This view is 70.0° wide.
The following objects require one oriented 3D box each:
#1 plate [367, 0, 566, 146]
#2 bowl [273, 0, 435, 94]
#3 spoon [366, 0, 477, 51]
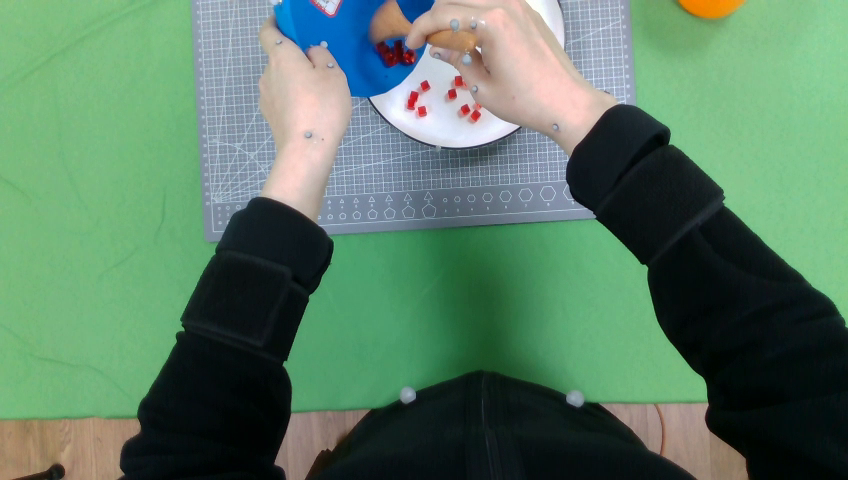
[{"bbox_3d":[0.035,-0.196,0.603,0.209,0.038,0.209,0,90,4],"label":"plate"},{"bbox_3d":[-0.070,-0.204,0.506,0.076,0.153,0.151,26,91,41],"label":"bowl"},{"bbox_3d":[-0.005,-0.158,0.451,0.022,0.191,0.041,24,100,-35],"label":"spoon"}]
